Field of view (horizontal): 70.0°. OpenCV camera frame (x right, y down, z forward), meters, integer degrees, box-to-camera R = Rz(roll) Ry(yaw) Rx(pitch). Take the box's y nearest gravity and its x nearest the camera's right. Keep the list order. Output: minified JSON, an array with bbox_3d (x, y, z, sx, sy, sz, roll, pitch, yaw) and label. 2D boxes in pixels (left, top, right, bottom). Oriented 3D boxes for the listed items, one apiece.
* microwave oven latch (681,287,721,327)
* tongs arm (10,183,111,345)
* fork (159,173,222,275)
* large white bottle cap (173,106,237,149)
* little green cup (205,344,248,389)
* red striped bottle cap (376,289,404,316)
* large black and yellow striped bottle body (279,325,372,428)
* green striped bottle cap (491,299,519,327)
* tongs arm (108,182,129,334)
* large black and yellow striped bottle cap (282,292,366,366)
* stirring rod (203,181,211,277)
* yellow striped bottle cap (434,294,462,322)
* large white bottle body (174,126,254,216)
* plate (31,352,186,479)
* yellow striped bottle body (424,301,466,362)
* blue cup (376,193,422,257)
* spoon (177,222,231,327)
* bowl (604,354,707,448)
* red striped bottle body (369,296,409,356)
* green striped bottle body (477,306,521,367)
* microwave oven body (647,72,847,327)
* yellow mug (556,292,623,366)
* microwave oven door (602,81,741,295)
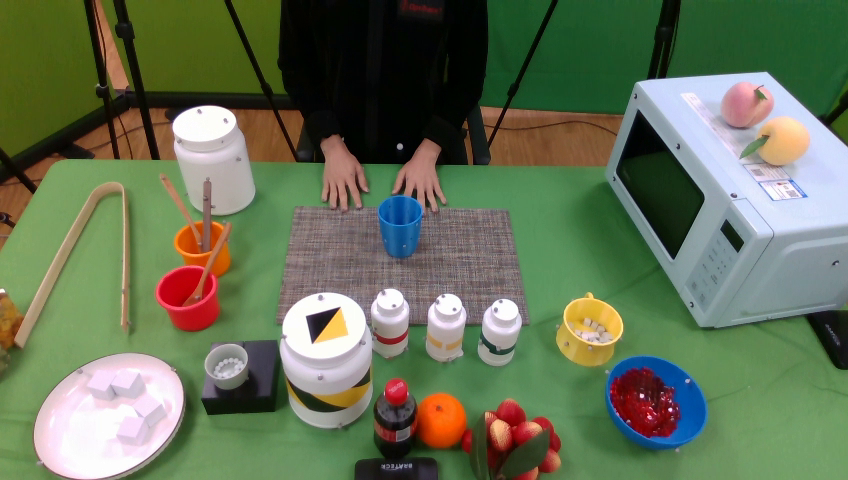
[{"bbox_3d":[0.494,0.119,1.087,0.030,0.029,0.078,-6,46,-9],"label":"microwave oven latch"},{"bbox_3d":[-0.658,0.027,1.109,0.028,0.028,0.385,-2,45,2],"label":"tongs arm"},{"bbox_3d":[-0.427,-0.029,1.103,0.028,0.018,0.207,-31,99,-29],"label":"fork"},{"bbox_3d":[-0.411,-0.212,1.138,0.115,0.018,0.114,2,47,-2],"label":"large white bottle cap"},{"bbox_3d":[-0.294,0.191,0.909,0.061,0.039,0.061,1,47,-1],"label":"little green cup"},{"bbox_3d":[-0.054,0.098,0.958,0.044,0.018,0.044,0,48,1],"label":"red striped bottle cap"},{"bbox_3d":[-0.143,0.181,0.900,0.131,0.185,0.130,2,46,-2],"label":"large black and yellow striped bottle body"},{"bbox_3d":[0.128,0.115,0.958,0.044,0.020,0.044,1,46,-1],"label":"green striped bottle cap"},{"bbox_3d":[-0.571,0.019,1.123,0.051,0.026,0.382,-10,47,-12],"label":"tongs arm"},{"bbox_3d":[-0.138,0.121,0.841,0.115,0.019,0.114,3,47,-3],"label":"large black and yellow striped bottle cap"},{"bbox_3d":[-0.397,-0.021,1.108,0.014,0.006,0.176,0,89,-2],"label":"stirring rod"},{"bbox_3d":[0.038,0.107,0.958,0.044,0.019,0.044,2,45,-2],"label":"yellow striped bottle cap"},{"bbox_3d":[-0.415,-0.154,1.199,0.131,0.185,0.130,2,46,-2],"label":"large white bottle body"},{"bbox_3d":[-0.459,0.262,0.898,0.209,0.038,0.208,2,46,-2],"label":"plate"},{"bbox_3d":[0.035,0.143,0.995,0.063,0.121,0.062,3,46,-3],"label":"yellow striped bottle body"},{"bbox_3d":[-0.047,-0.021,1.155,0.093,0.101,0.092,1,47,-1],"label":"blue cup"},{"bbox_3d":[-0.369,0.059,1.027,0.041,0.022,0.193,25,94,19],"label":"spoon"},{"bbox_3d":[0.346,0.261,0.937,0.151,0.077,0.150,2,46,-2],"label":"bowl"},{"bbox_3d":[-0.059,0.134,0.997,0.063,0.120,0.062,5,48,-5],"label":"red striped bottle body"},{"bbox_3d":[0.124,0.151,0.995,0.063,0.120,0.063,2,46,-2],"label":"green striped bottle body"},{"bbox_3d":[0.607,-0.089,1.164,0.326,0.261,0.438,-7,46,-10],"label":"microwave oven body"},{"bbox_3d":[0.285,0.145,1.051,0.100,0.064,0.130,7,46,3],"label":"yellow mug"},{"bbox_3d":[0.456,-0.107,1.162,0.039,0.245,0.353,-7,47,-11],"label":"microwave oven door"}]
